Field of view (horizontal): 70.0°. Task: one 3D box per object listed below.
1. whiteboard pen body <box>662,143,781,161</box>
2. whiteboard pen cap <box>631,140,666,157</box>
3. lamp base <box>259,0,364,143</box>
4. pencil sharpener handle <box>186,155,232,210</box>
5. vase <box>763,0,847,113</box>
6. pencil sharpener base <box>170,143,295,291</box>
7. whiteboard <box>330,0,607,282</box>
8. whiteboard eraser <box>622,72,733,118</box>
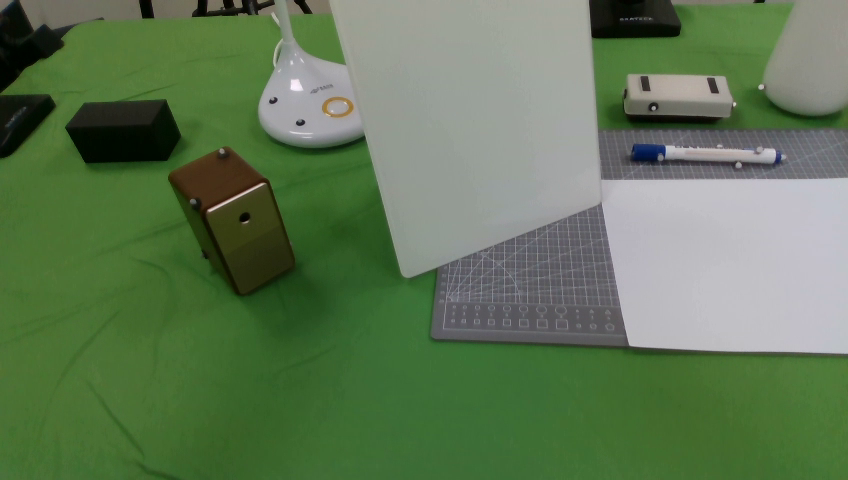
[{"bbox_3d":[0.295,-0.092,0.630,0.140,0.017,0.017,3,46,9],"label":"whiteboard pen body"},{"bbox_3d":[0.236,-0.095,0.638,0.033,0.018,0.018,5,46,7],"label":"whiteboard pen cap"},{"bbox_3d":[-0.135,-0.229,0.692,0.160,0.182,0.177,-35,50,-26],"label":"lamp base"},{"bbox_3d":[-0.201,-0.056,0.561,0.036,0.068,0.030,-39,53,-18],"label":"pencil sharpener handle"},{"bbox_3d":[0.434,-0.234,0.633,0.098,0.202,0.097,-2,45,2],"label":"vase"},{"bbox_3d":[-0.169,-0.021,0.541,0.061,0.108,0.076,-33,51,-24],"label":"pencil sharpener base"},{"bbox_3d":[0.027,-0.156,0.556,0.217,0.308,0.142,-20,28,-13],"label":"whiteboard"},{"bbox_3d":[0.285,-0.163,0.687,0.112,0.042,0.055,2,44,9],"label":"whiteboard eraser"}]
